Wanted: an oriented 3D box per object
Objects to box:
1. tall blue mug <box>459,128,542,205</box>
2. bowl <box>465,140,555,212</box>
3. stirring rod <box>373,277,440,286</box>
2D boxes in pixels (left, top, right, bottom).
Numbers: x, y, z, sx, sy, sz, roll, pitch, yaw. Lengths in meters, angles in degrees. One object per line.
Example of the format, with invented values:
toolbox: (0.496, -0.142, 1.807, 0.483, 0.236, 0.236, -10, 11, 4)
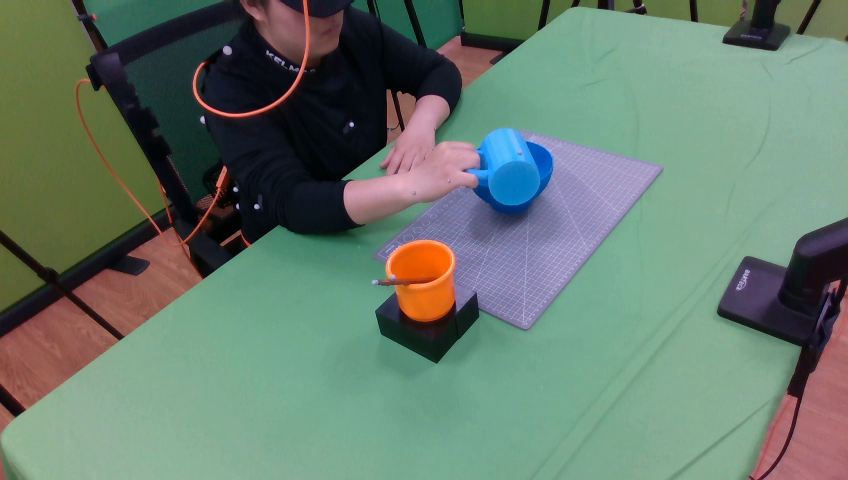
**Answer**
tall blue mug: (0.115, -0.118, 0.909, 0.108, 0.077, 0.107, 25, 30, -21)
bowl: (0.145, -0.100, 1.025, 0.151, 0.077, 0.150, -5, 40, 5)
stirring rod: (-0.018, 0.051, 0.757, 0.014, 0.006, 0.177, 12, 3, 23)
